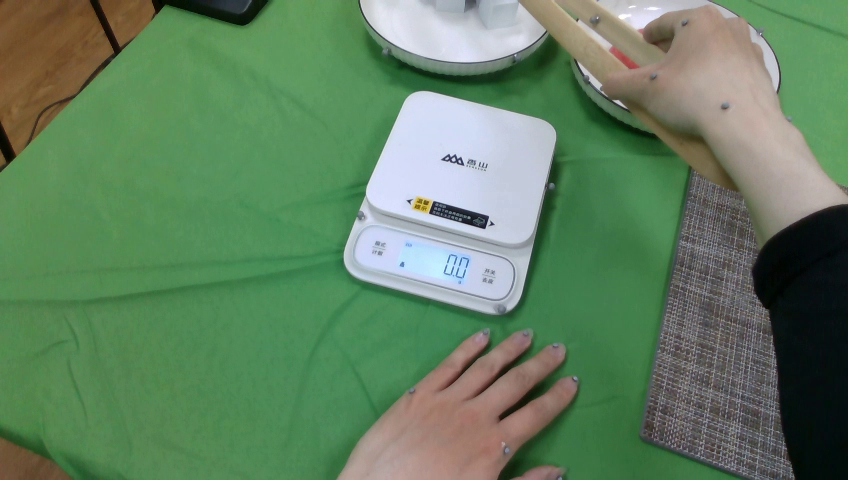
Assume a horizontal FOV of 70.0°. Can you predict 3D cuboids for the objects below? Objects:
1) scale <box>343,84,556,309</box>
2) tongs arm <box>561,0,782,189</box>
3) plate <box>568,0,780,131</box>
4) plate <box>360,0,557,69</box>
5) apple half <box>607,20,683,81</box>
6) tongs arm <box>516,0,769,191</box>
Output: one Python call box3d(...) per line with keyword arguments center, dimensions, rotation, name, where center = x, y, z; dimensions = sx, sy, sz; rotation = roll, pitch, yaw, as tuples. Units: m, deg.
box3d(center=(0.027, -0.045, 0.523), dimensions=(0.148, 0.032, 0.199), rotation=(15, 59, 7), name="scale")
box3d(center=(0.153, -0.180, 0.521), dimensions=(0.051, 0.027, 0.380), rotation=(-20, 55, -26), name="tongs arm")
box3d(center=(0.247, -0.184, 0.615), dimensions=(0.209, 0.038, 0.207), rotation=(1, 58, -2), name="plate")
box3d(center=(0.036, -0.253, 0.648), dimensions=(0.208, 0.039, 0.205), rotation=(1, 58, -2), name="plate")
box3d(center=(0.231, -0.199, 0.617), dimensions=(0.081, 0.033, 0.080), rotation=(0, 55, 0), name="apple half")
box3d(center=(0.132, -0.174, 0.512), dimensions=(0.028, 0.028, 0.383), rotation=(-13, 52, -26), name="tongs arm")
